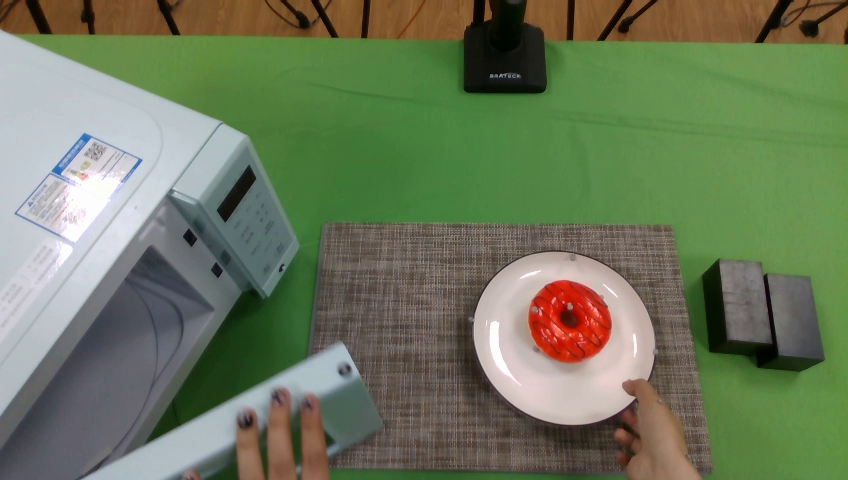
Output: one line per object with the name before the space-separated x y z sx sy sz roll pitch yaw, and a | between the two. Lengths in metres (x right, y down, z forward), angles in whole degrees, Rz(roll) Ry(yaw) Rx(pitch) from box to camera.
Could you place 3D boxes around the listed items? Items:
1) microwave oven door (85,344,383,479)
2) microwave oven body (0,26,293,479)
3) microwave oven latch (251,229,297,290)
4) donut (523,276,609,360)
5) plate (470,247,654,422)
microwave oven door | -0.209 0.215 0.531 0.356 0.245 0.039 -28 67 -12
microwave oven body | -0.396 0.065 0.608 0.325 0.262 0.440 23 68 10
microwave oven latch | -0.184 0.019 0.734 0.030 0.030 0.079 23 68 11
donut | 0.163 0.090 0.701 0.099 0.048 0.098 1 67 -1
plate | 0.157 0.109 0.704 0.209 0.038 0.207 0 65 0
